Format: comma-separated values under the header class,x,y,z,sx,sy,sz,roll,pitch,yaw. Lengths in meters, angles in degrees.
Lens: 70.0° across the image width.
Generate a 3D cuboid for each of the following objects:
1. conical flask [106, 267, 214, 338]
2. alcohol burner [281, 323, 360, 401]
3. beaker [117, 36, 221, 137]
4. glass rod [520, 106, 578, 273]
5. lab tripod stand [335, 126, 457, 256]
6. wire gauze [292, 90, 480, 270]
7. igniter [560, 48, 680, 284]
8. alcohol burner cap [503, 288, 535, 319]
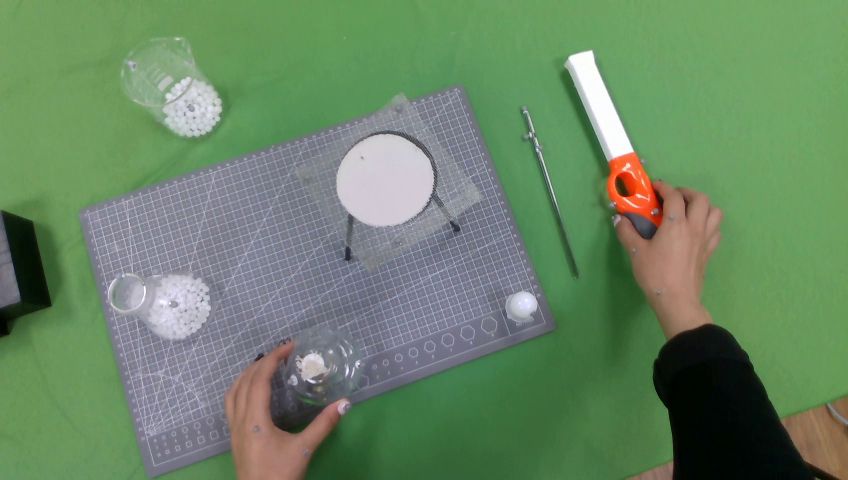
class,x,y,z,sx,sy,sz,roll,pitch,yaw
conical flask,-0.261,0.056,0.591,0.075,0.122,0.075,0,79,0
alcohol burner,-0.102,0.117,0.585,0.078,0.119,0.077,0,79,-1
beaker,-0.264,-0.160,0.645,0.074,0.100,0.084,29,80,5
glass rod,0.137,-0.058,0.672,0.008,0.008,0.199,-15,80,-3
lab tripod stand,-0.036,-0.044,0.603,0.148,0.132,0.148,0,81,0
wire gauze,-0.035,-0.054,0.537,0.125,0.011,0.121,-36,82,-6
igniter,0.216,-0.085,0.667,0.057,0.025,0.275,-18,81,-14
alcohol burner cap,0.101,0.064,0.630,0.034,0.048,0.033,0,80,0
